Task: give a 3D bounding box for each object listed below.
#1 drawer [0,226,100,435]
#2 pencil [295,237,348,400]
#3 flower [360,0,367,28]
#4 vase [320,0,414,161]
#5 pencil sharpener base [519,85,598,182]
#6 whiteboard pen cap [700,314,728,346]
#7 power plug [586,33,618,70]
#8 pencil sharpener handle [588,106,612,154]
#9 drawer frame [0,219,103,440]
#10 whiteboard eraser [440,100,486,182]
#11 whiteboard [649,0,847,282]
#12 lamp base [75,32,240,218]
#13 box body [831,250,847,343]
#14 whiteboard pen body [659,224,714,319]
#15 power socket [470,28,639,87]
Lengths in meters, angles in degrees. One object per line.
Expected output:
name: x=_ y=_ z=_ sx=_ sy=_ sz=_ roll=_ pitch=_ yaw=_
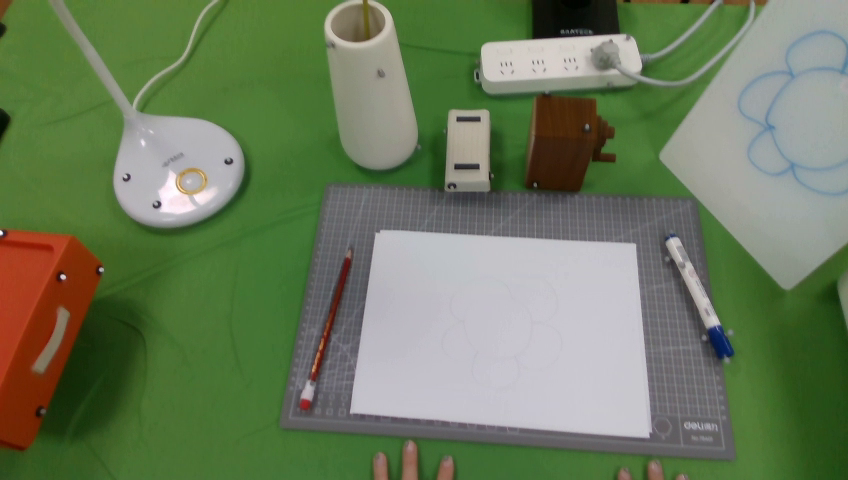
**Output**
drawer: x=-0.462 y=0.075 z=0.591 sx=0.211 sy=0.074 sz=0.193 roll=5 pitch=63 yaw=5
pencil: x=-0.109 y=0.079 z=0.664 sx=0.012 sy=0.012 sz=0.192 roll=9 pitch=61 yaw=8
flower: x=-0.062 y=-0.234 z=0.630 sx=0.038 sy=0.365 sz=0.043 roll=-8 pitch=43 yaw=-9
vase: x=-0.067 y=-0.179 z=0.695 sx=0.098 sy=0.201 sz=0.097 roll=-2 pitch=61 yaw=3
pencil sharpener base: x=0.155 y=-0.121 z=0.707 sx=0.076 sy=0.108 sz=0.061 roll=5 pitch=62 yaw=5
whiteboard pen cap: x=0.300 y=0.093 z=0.629 sx=0.018 sy=0.018 sz=0.033 roll=-12 pitch=62 yaw=-4
power plug: x=0.227 y=-0.234 z=0.779 sx=0.035 sy=0.053 sz=0.072 roll=6 pitch=64 yaw=7
pencil sharpener handle: x=0.206 y=-0.123 z=0.692 sx=0.030 sy=0.068 sz=0.035 roll=5 pitch=61 yaw=5
drawer frame: x=-0.468 y=0.077 z=0.593 sx=0.213 sy=0.083 sz=0.200 roll=6 pitch=63 yaw=3
whiteboard eraser: x=0.050 y=-0.120 z=0.748 sx=0.055 sy=0.042 sz=0.112 roll=2 pitch=61 yaw=2
whiteboard: x=0.429 y=-0.142 z=0.629 sx=0.144 sy=0.307 sz=0.215 roll=-18 pitch=60 yaw=-28
lamp base: x=-0.324 y=-0.140 z=0.695 sx=0.178 sy=0.182 sz=0.160 roll=33 pitch=68 yaw=21
box body: x=0.545 y=0.142 z=0.519 sx=0.254 sy=0.161 sz=0.361 roll=2 pitch=62 yaw=4
whiteboard pen body: x=0.289 y=0.043 z=0.659 sx=0.017 sy=0.017 sz=0.139 roll=-12 pitch=62 yaw=-4
power socket: x=0.176 y=-0.245 z=0.814 sx=0.227 sy=0.033 sz=0.071 roll=-2 pitch=63 yaw=1
